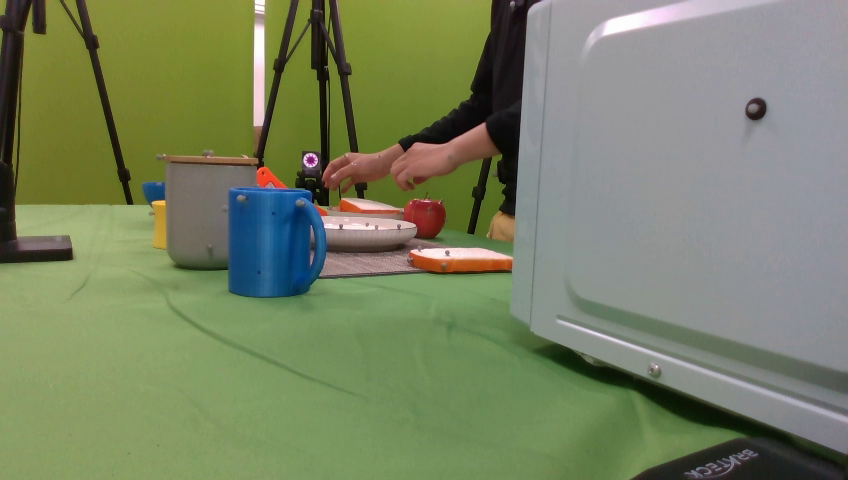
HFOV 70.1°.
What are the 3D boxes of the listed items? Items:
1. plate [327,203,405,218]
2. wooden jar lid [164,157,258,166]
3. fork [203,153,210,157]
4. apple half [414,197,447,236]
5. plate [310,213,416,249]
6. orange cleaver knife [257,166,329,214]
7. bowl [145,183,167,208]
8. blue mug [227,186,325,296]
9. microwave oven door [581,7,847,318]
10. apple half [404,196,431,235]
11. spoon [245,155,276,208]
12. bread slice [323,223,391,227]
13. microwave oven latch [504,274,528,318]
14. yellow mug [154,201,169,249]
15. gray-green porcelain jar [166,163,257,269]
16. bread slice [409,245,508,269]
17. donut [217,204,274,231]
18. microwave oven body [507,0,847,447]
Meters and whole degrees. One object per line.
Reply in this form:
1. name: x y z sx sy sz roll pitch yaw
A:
1. plate: -0.102 -0.053 1.299 0.209 0.038 0.209 2 8 0
2. wooden jar lid: -0.261 -0.093 0.746 0.108 0.020 0.108 1 9 0
3. fork: -0.480 -0.135 1.411 0.028 0.018 0.207 1 -34 0
4. apple half: 0.020 -0.045 1.122 0.082 0.081 0.032 -5 7 -40
5. plate: -0.117 -0.014 0.967 0.208 0.039 0.207 2 7 0
6. orange cleaver knife: -0.296 -0.086 1.333 0.012 0.077 0.212 2 -24 46
7. bowl: -0.459 -0.068 1.175 0.151 0.077 0.151 3 7 0
8. blue mug: -0.147 0.000 0.618 0.116 0.106 0.083 7 9 32
9. microwave oven door: 0.295 -0.067 0.569 0.358 0.243 0.039 -3 8 -31
10. apple half: -0.006 -0.048 1.150 0.081 0.074 0.053 -7 7 -40
11. spoon: -0.421 -0.150 1.540 0.042 0.021 0.193 -5 55 -37
12. bread slice: -0.116 -0.013 0.975 0.135 0.018 0.106 -7 12 -42
13. microwave oven latch: 0.100 0.041 0.471 0.079 0.029 0.030 -1 8 -28
14. yellow mug: -0.337 -0.022 0.899 0.130 0.064 0.100 8 9 34
15. gray-green porcelain jar: -0.263 -0.032 0.754 0.106 0.126 0.106 2 7 0
16. bread slice: 0.048 0.021 0.816 0.132 0.019 0.104 -1 7 -24
17. donut: -0.318 -0.038 1.080 0.099 0.048 0.099 3 7 0
18. microwave oven body: 0.331 -0.042 0.425 0.444 0.260 0.324 -2 8 -31
